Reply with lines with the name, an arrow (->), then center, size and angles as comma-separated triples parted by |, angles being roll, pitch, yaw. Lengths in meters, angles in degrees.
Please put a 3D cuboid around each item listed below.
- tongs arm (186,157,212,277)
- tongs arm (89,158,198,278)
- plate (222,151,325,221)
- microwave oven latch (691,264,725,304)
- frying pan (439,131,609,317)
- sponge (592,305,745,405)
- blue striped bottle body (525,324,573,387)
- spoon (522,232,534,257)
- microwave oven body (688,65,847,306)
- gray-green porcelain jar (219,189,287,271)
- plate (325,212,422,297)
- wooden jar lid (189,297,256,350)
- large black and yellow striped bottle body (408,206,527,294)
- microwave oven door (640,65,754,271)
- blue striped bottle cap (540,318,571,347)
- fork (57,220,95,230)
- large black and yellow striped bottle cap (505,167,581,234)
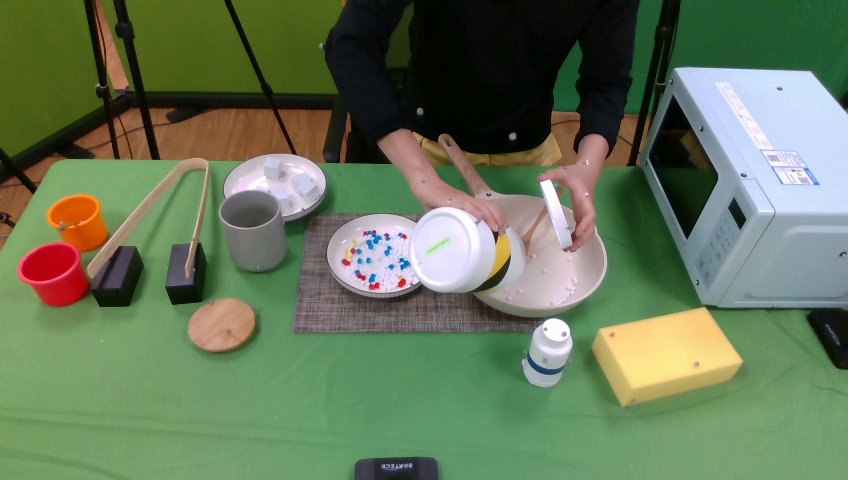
tongs arm -> -0.445, -0.058, 1.168 | 0.051, 0.026, 0.382 | -5, 37, -6
tongs arm -> -0.529, -0.057, 1.164 | 0.028, 0.028, 0.385 | 1, 36, 8
plate -> -0.310, -0.106, 1.262 | 0.208, 0.039, 0.206 | 2, 47, -2
microwave oven latch -> 0.521, 0.081, 1.116 | 0.030, 0.029, 0.078 | 0, 46, -3
frying pan -> 0.149, -0.049, 1.190 | 0.307, 0.103, 0.484 | -17, 58, -20
sponge -> 0.405, 0.190, 1.015 | 0.207, 0.061, 0.117 | -10, 48, -13
blue striped bottle body -> 0.201, 0.178, 0.970 | 0.063, 0.121, 0.062 | 2, 46, -1
spoon -> 0.225, -0.034, 1.188 | 0.041, 0.022, 0.193 | 31, 79, 26
microwave oven body -> 0.669, -0.111, 1.176 | 0.326, 0.261, 0.439 | 0, 46, -3
gray-green porcelain jar -> -0.310, -0.014, 1.113 | 0.106, 0.127, 0.105 | 2, 46, -2
plate -> -0.080, 0.030, 1.143 | 0.209, 0.038, 0.208 | 3, 46, -2
wooden jar lid -> -0.342, 0.145, 1.033 | 0.108, 0.021, 0.107 | 2, 45, -2
large black and yellow striped bottle body -> 0.077, 0.020, 0.973 | 0.130, 0.131, 0.185 | 43, 20, 31
microwave oven door -> 0.523, -0.148, 1.193 | 0.039, 0.245, 0.353 | 0, 47, -3
blue striped bottle cap -> 0.203, 0.142, 0.933 | 0.044, 0.021, 0.044 | 3, 50, -3
fork -> -0.624, -0.027, 1.087 | 0.028, 0.207, 0.018 | -3, 92, -17
large black and yellow striped bottle cap -> 0.182, -0.061, 0.929 | 0.115, 0.019, 0.114 | -4, 60, 7
